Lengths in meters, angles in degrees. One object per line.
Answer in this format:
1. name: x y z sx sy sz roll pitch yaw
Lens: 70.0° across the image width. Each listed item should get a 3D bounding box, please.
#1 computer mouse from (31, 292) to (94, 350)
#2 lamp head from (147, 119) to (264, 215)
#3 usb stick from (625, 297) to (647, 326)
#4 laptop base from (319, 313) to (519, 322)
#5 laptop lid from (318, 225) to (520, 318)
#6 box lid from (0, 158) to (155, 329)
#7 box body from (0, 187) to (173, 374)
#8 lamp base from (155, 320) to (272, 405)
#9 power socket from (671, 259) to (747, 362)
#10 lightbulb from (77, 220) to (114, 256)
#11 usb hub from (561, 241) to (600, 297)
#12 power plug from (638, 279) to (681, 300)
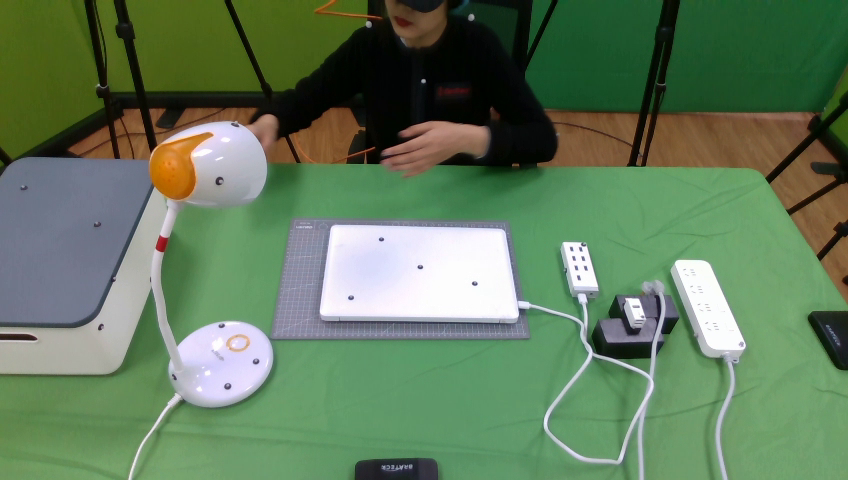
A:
1. computer mouse: -0.602 0.130 1.009 0.063 0.041 0.116 -1 42 -1
2. lamp head: -0.276 -0.087 0.740 0.112 0.112 0.123 20 23 15
3. usb stick: 0.360 0.116 1.034 0.021 0.027 0.059 -2 44 -2
4. laptop base: -0.009 0.062 1.137 0.354 0.023 0.234 1 42 -3
5. laptop lid: -0.009 0.052 1.131 0.357 0.013 0.240 2 43 -2
6. box lid: -0.598 -0.011 0.964 0.263 0.015 0.369 1 45 -3
7. box body: -0.601 0.039 1.019 0.254 0.161 0.361 1 46 -3
8. lamp base: -0.330 0.149 0.918 0.160 0.181 0.179 26 52 20
9. power socket: 0.516 0.119 1.108 0.072 0.033 0.225 1 46 -2
10. lightbulb: -0.614 -0.010 1.139 0.059 0.060 0.107 -14 28 -16
11. usb hub: 0.300 0.054 1.162 0.049 0.025 0.124 2 46 -3
12. power plug: 0.434 0.100 1.118 0.073 0.053 0.035 34 37 -14
